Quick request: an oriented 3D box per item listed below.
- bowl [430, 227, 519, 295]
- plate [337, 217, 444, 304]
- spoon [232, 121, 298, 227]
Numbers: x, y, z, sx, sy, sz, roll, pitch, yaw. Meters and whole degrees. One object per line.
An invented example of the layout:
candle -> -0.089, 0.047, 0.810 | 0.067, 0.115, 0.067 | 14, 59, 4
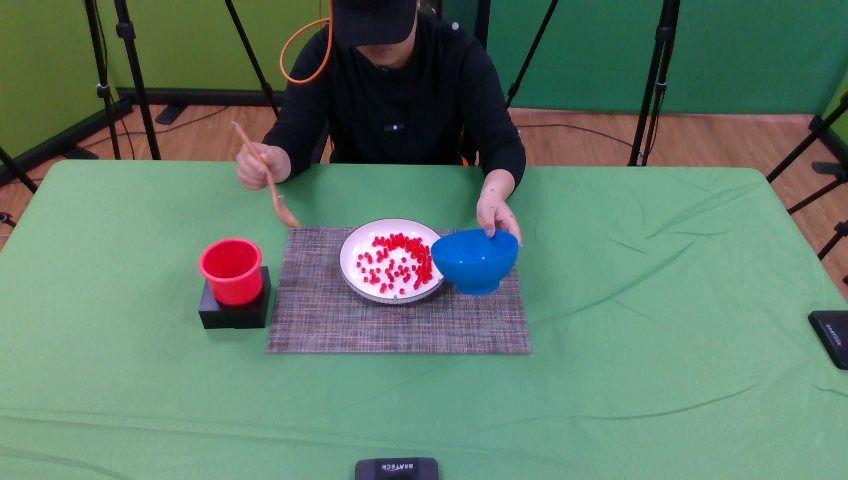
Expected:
bowl -> 0.089, 0.041, 1.028 | 0.151, 0.077, 0.150 | -6, 22, 3
plate -> -0.058, 0.042, 1.137 | 0.208, 0.039, 0.206 | 2, 46, -2
spoon -> -0.257, -0.105, 0.981 | 0.021, 0.194, 0.041 | -23, 10, 13
